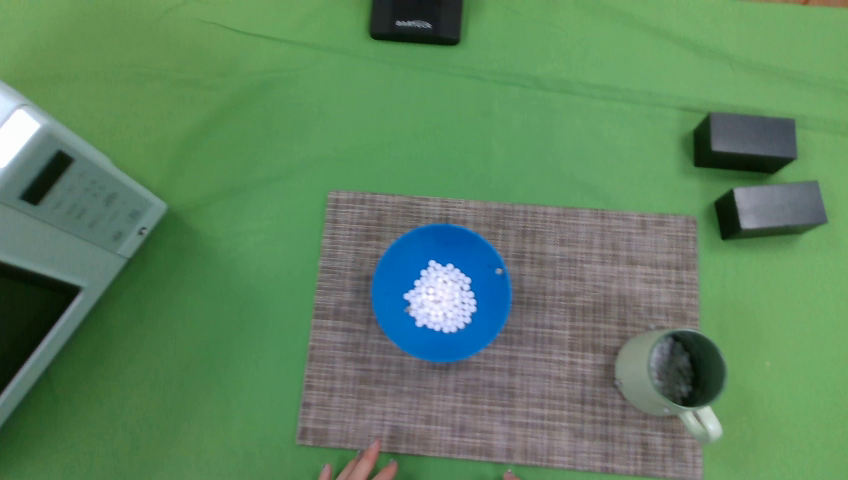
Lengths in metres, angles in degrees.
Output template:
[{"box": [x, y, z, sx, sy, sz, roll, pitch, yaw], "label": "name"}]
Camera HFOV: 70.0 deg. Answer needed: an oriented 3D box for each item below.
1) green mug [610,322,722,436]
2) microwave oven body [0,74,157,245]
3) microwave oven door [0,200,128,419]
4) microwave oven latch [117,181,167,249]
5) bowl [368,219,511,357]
[{"box": [0.261, 0.147, 0.640, 0.092, 0.105, 0.124, -27, 77, -6], "label": "green mug"}, {"box": [-0.561, 0.013, 0.603, 0.325, 0.261, 0.441, 32, 80, 8], "label": "microwave oven body"}, {"box": [-0.462, 0.123, 0.570, 0.039, 0.245, 0.355, 32, 79, 9], "label": "microwave oven door"}, {"box": [-0.337, -0.029, 0.710, 0.030, 0.029, 0.079, 34, 80, 8], "label": "microwave oven latch"}, {"box": [0.016, 0.058, 0.678, 0.151, 0.077, 0.150, 0, 76, 1], "label": "bowl"}]
